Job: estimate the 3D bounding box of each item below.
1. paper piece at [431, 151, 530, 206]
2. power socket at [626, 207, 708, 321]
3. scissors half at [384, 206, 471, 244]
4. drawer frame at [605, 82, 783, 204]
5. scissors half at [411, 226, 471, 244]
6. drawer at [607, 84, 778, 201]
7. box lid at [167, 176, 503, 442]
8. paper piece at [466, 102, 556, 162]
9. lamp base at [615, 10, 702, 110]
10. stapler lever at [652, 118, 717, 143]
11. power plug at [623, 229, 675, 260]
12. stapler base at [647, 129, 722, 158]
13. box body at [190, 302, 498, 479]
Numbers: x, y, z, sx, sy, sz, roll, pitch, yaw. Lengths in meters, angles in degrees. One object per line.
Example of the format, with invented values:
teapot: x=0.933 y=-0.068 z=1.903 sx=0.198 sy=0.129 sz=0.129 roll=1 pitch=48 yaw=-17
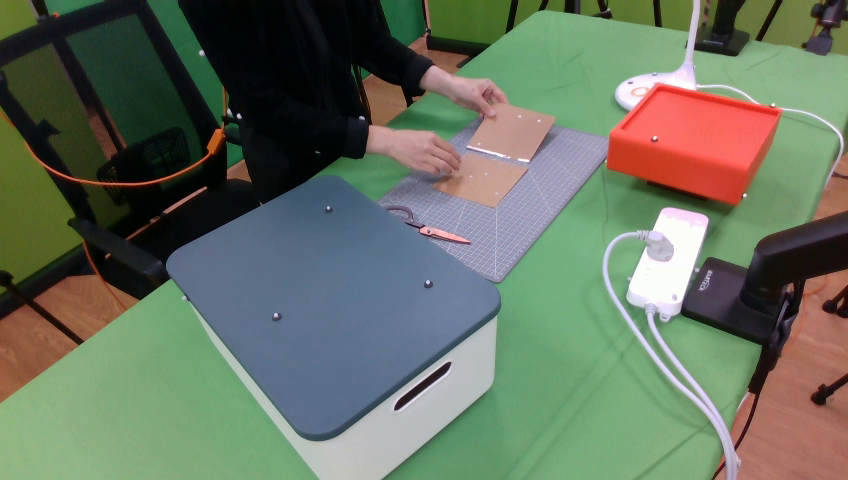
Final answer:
paper piece: x=0.104 y=-0.116 z=1.104 sx=0.135 sy=0.004 sz=0.136 roll=21 pitch=47 yaw=28
power socket: x=0.360 y=0.026 z=0.886 sx=0.072 sy=0.033 sz=0.227 roll=16 pitch=46 yaw=26
scissors half: x=0.001 y=-0.023 z=1.005 sx=0.174 sy=0.013 sz=0.040 roll=22 pitch=54 yaw=25
drawer frame: x=0.441 y=-0.167 z=0.995 sx=0.212 sy=0.083 sz=0.202 roll=23 pitch=48 yaw=30
scissors half: x=-0.007 y=-0.010 z=0.992 sx=0.174 sy=0.013 sz=0.040 roll=9 pitch=44 yaw=15
drawer: x=0.438 y=-0.167 z=0.996 sx=0.210 sy=0.073 sz=0.195 roll=23 pitch=48 yaw=30
box lid: x=-0.119 y=0.047 z=0.714 sx=0.264 sy=0.015 sz=0.368 roll=-32 pitch=47 yaw=-27
paper piece: x=0.172 y=-0.213 z=1.187 sx=0.137 sy=0.009 sz=0.136 roll=20 pitch=57 yaw=25
lamp base: x=0.484 y=-0.364 z=1.211 sx=0.180 sy=0.181 sz=0.159 roll=-15 pitch=41 yaw=-14
stapler lever: x=0.436 y=-0.191 z=1.014 sx=0.118 sy=0.040 sz=0.026 roll=-16 pitch=25 yaw=-16
power plug: x=0.327 y=0.007 z=0.878 sx=0.072 sy=0.053 sz=0.035 roll=25 pitch=51 yaw=32
stapler base: x=0.439 y=-0.167 z=1.023 sx=0.131 sy=0.024 sz=0.041 roll=-16 pitch=25 yaw=-15
box body: x=-0.110 y=0.103 z=0.761 sx=0.255 sy=0.161 sz=0.361 roll=-33 pitch=46 yaw=-27
